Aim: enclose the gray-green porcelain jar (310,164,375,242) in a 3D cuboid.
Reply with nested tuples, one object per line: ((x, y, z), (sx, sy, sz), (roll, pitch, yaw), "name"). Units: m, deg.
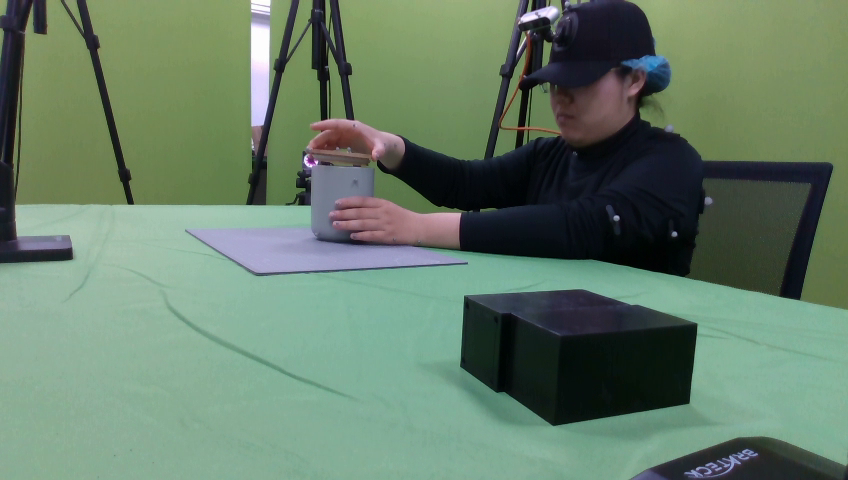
((-0.139, -0.063, 1.025), (0.106, 0.126, 0.106), (3, 8, 0), "gray-green porcelain jar")

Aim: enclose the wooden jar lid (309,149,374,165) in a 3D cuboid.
((-0.137, -0.138, 1.012), (0.108, 0.020, 0.108), (5, 8, 0), "wooden jar lid")
